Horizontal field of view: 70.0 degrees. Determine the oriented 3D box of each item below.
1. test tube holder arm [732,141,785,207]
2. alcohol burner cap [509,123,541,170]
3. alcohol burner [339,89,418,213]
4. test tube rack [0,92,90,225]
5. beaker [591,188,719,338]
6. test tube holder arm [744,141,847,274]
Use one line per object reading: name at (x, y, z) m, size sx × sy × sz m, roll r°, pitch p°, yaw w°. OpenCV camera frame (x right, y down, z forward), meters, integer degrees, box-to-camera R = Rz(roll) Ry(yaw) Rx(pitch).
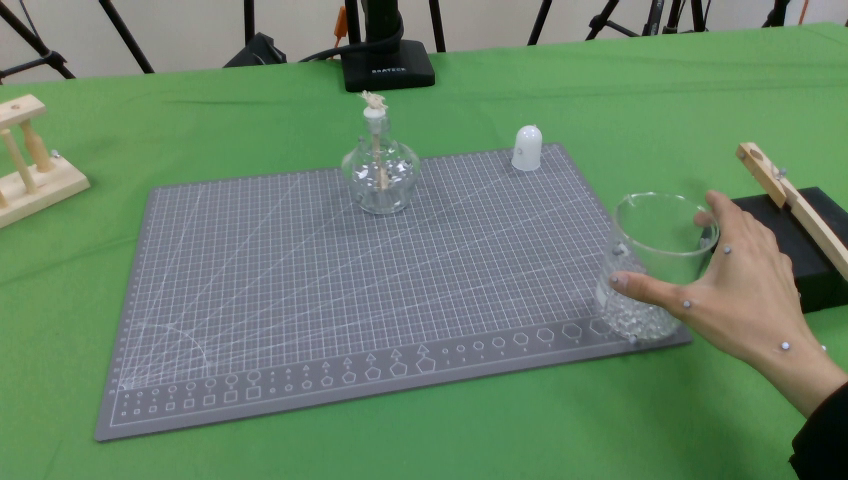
test tube holder arm at (0.311, -0.062, 0.560) m, size 0.010 × 0.015 × 0.087 m, roll -11°, pitch 42°, yaw 0°
alcohol burner cap at (0.110, -0.104, 0.654) m, size 0.034 × 0.048 × 0.033 m, roll 0°, pitch 42°, yaw 0°
alcohol burner at (-0.045, -0.087, 0.580) m, size 0.078 × 0.120 × 0.077 m, roll -1°, pitch 41°, yaw 1°
test tube rack at (-0.455, -0.044, 0.555) m, size 0.066 × 0.086 × 0.242 m, roll 31°, pitch 50°, yaw 30°
beaker at (0.172, 0.019, 0.473) m, size 0.074 × 0.101 × 0.083 m, roll -13°, pitch 43°, yaw -15°
test tube holder arm at (0.322, -0.034, 0.527) m, size 0.013 × 0.015 × 0.176 m, roll -11°, pitch 42°, yaw 0°
